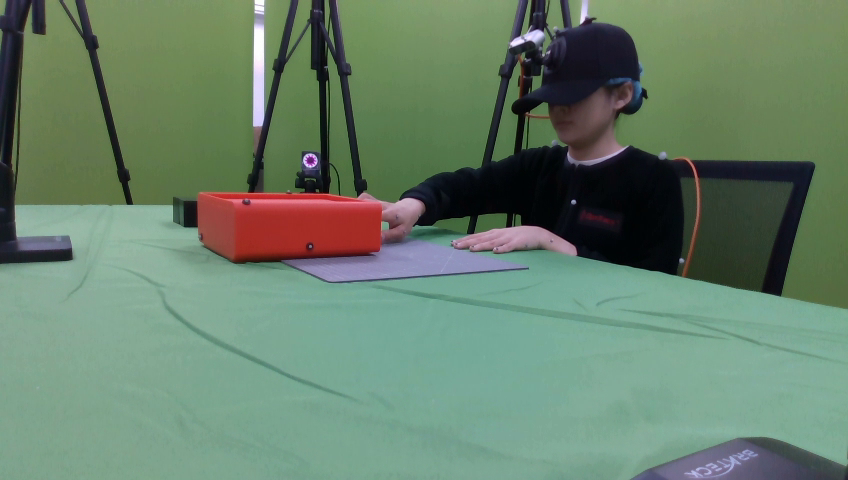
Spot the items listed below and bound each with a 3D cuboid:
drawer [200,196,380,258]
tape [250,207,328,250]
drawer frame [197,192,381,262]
[{"bbox_3d":[-0.200,-0.024,0.894,0.213,0.073,0.193,-3,10,-33],"label":"drawer"},{"bbox_3d":[-0.202,-0.019,0.902,0.117,0.052,0.117,3,8,0],"label":"tape"},{"bbox_3d":[-0.202,-0.026,0.892,0.215,0.082,0.200,-3,10,-34],"label":"drawer frame"}]
